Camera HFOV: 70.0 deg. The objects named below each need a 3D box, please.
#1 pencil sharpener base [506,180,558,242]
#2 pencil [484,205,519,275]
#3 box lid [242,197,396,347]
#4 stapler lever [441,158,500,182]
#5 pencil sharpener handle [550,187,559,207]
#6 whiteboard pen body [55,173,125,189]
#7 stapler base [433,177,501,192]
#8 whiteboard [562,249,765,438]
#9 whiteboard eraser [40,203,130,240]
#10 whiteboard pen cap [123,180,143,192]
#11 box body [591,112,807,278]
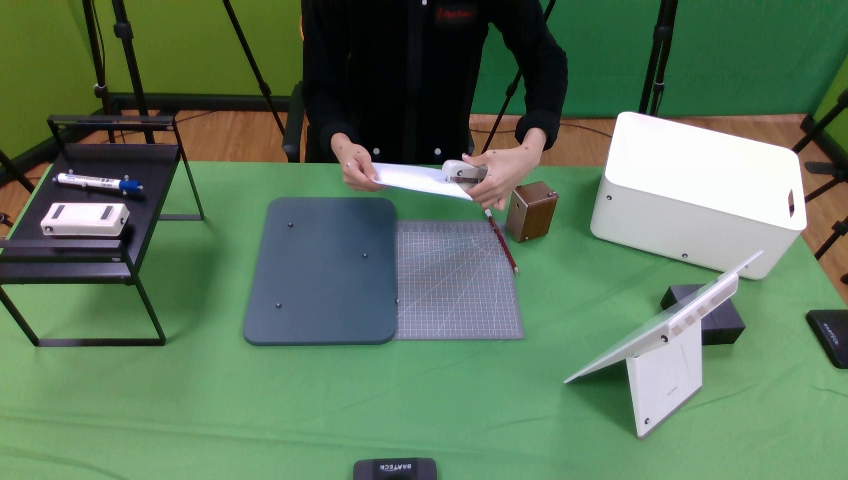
[{"bbox_3d":[0.216,-0.058,1.211,0.077,0.107,0.061,-16,49,-19],"label":"pencil sharpener base"},{"bbox_3d":[0.156,-0.002,1.218,0.012,0.012,0.192,-9,48,-12],"label":"pencil"},{"bbox_3d":[-0.186,0.046,1.147,0.263,0.015,0.369,0,46,-3],"label":"box lid"},{"bbox_3d":[0.082,-0.125,1.065,0.118,0.040,0.026,-9,32,-32],"label":"stapler lever"},{"bbox_3d":[0.261,-0.084,1.221,0.031,0.068,0.036,-16,66,-19],"label":"pencil sharpener handle"},{"bbox_3d":[-0.539,-0.095,0.998,0.141,0.017,0.017,6,46,6],"label":"whiteboard pen body"},{"bbox_3d":[0.078,-0.105,1.073,0.131,0.024,0.041,-6,30,-33],"label":"stapler base"},{"bbox_3d":[0.386,0.175,0.905,0.217,0.306,0.143,-26,72,-26],"label":"whiteboard"},{"bbox_3d":[-0.513,-0.028,0.922,0.113,0.042,0.055,1,48,-3],"label":"whiteboard eraser"},{"bbox_3d":[-0.479,-0.089,0.993,0.033,0.018,0.018,7,46,14],"label":"whiteboard pen cap"},{"bbox_3d":[0.540,-0.092,1.229,0.363,0.161,0.253,16,47,11],"label":"box body"}]
